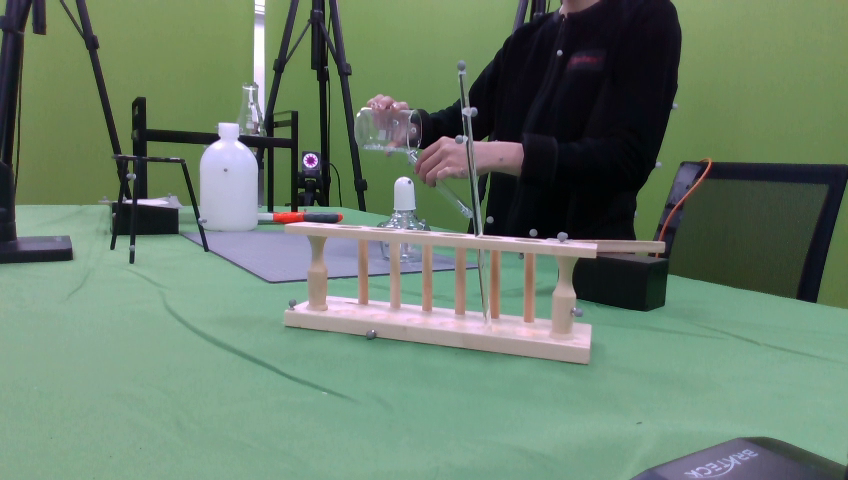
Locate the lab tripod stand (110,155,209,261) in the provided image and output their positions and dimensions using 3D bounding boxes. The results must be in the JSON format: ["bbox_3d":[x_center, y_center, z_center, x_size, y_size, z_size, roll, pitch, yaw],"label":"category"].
[{"bbox_3d":[-0.361,-0.046,0.806,0.148,0.131,0.148,2,5,0],"label":"lab tripod stand"}]

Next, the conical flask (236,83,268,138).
[{"bbox_3d":[-0.400,-0.298,1.396,0.075,0.122,0.075,2,8,0],"label":"conical flask"}]

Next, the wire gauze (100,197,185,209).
[{"bbox_3d":[-0.469,-0.062,1.008,0.126,0.011,0.121,-2,8,-25],"label":"wire gauze"}]

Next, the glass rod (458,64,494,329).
[{"bbox_3d":[0.039,-0.029,0.449,0.008,0.199,0.008,-7,9,1],"label":"glass rod"}]

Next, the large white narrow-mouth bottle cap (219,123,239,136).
[{"bbox_3d":[-0.356,-0.201,1.105,0.038,0.024,0.037,2,8,0],"label":"large white narrow-mouth bottle cap"}]

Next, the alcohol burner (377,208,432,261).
[{"bbox_3d":[-0.027,-0.031,0.838,0.078,0.119,0.078,0,6,0],"label":"alcohol burner"}]

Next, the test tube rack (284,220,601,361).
[{"bbox_3d":[0.013,0.032,0.482,0.242,0.085,0.067,4,7,16],"label":"test tube rack"}]

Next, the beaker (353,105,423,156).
[{"bbox_3d":[-0.061,-0.186,1.014,0.100,0.084,0.074,7,8,17],"label":"beaker"}]

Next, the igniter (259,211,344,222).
[{"bbox_3d":[-0.302,-0.048,1.249,0.278,0.025,0.057,-2,-2,-27],"label":"igniter"}]

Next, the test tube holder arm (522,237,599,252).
[{"bbox_3d":[0.144,0.005,0.636,0.088,0.015,0.010,-1,16,-19],"label":"test tube holder arm"}]

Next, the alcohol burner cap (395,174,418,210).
[{"bbox_3d":[-0.026,-0.067,0.833,0.034,0.048,0.034,-2,12,1],"label":"alcohol burner cap"}]

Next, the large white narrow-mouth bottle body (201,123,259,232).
[{"bbox_3d":[-0.358,-0.116,1.116,0.102,0.194,0.102,2,8,0],"label":"large white narrow-mouth bottle body"}]

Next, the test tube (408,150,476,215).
[{"bbox_3d":[0.030,-0.094,0.986,0.150,0.017,0.017,45,22,14],"label":"test tube"}]

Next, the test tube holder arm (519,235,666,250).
[{"bbox_3d":[0.186,0.003,0.656,0.179,0.015,0.013,-1,16,-19],"label":"test tube holder arm"}]
